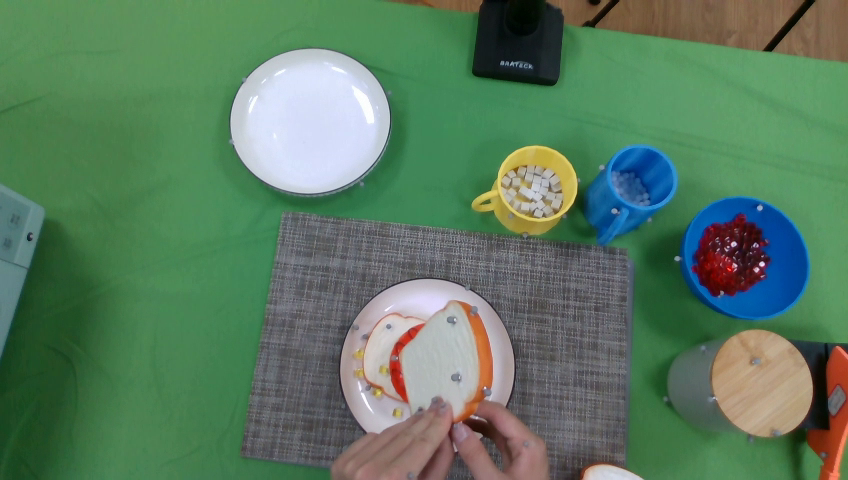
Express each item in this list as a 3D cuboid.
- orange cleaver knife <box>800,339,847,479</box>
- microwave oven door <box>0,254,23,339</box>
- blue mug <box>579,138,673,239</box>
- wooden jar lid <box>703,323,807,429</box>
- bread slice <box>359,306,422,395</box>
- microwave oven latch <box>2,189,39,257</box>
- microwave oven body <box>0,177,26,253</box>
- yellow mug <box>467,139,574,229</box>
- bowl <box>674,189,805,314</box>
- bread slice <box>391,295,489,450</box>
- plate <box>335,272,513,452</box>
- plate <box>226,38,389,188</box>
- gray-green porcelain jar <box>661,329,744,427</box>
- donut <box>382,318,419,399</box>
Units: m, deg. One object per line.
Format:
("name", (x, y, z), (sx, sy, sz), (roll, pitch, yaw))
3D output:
("orange cleaver knife", (0.460, 0.221, 0.700), (0.012, 0.077, 0.212), (5, 102, 0))
("microwave oven door", (-0.519, 0.164, 0.575), (0.039, 0.245, 0.354), (8, 76, 0))
("blue mug", (0.239, -0.053, 0.748), (0.082, 0.106, 0.116), (27, 77, 5))
("wooden jar lid", (0.340, 0.140, 0.628), (0.108, 0.021, 0.108), (1, 79, -4))
("bread slice", (-0.013, 0.139, 0.724), (0.131, 0.019, 0.104), (20, 76, -1))
("microwave oven latch", (-0.489, -0.021, 0.725), (0.030, 0.029, 0.079), (11, 77, 0))
("microwave oven body", (-0.658, 0.104, 0.589), (0.326, 0.261, 0.439), (8, 77, 0))
("yellow mug", (0.118, -0.066, 0.766), (0.131, 0.064, 0.099), (-14, 76, -4))
("bowl", (0.373, 0.021, 0.748), (0.151, 0.077, 0.150), (0, 76, -2))
("bread slice", (0.013, 0.113, 0.555), (0.018, 0.135, 0.106), (6, 48, -31))
("plate", (0.000, 0.142, 0.721), (0.209, 0.038, 0.208), (1, 76, -2))
("plate", (-0.150, -0.163, 0.793), (0.208, 0.039, 0.206), (1, 77, -2))
("gray-green porcelain jar", (0.339, 0.157, 0.689), (0.106, 0.127, 0.105), (1, 76, -2))
("donut", (0.002, 0.138, 0.693), (0.099, 0.048, 0.098), (1, 79, -5))
